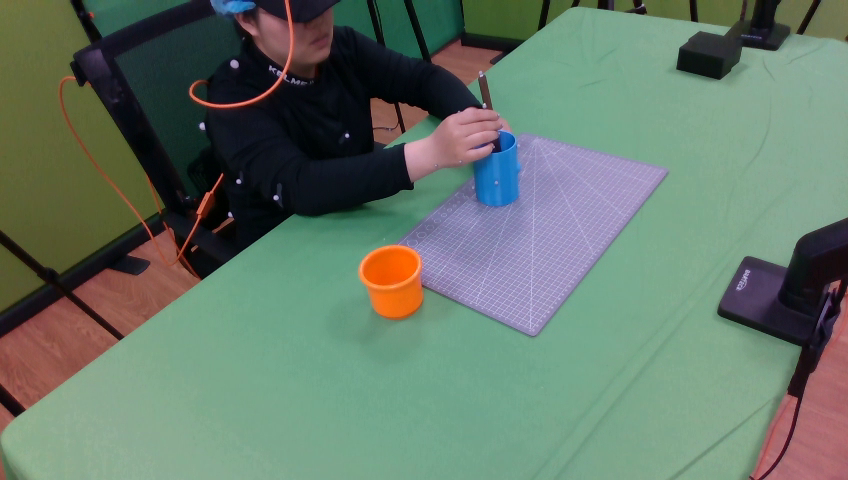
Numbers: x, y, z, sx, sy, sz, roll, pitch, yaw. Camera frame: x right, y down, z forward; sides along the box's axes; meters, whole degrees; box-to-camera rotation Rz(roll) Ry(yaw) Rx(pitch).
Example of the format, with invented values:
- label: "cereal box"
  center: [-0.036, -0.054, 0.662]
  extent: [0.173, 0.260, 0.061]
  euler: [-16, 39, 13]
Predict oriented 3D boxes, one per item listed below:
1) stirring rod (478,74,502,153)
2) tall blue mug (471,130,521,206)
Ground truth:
- label: "stirring rod"
  center: [0.111, -0.187, 0.978]
  extent: [0.014, 0.177, 0.005]
  euler: [-37, 42, -20]
- label: "tall blue mug"
  center: [0.118, -0.132, 1.046]
  extent: [0.078, 0.108, 0.106]
  euler: [-19, 41, -10]
